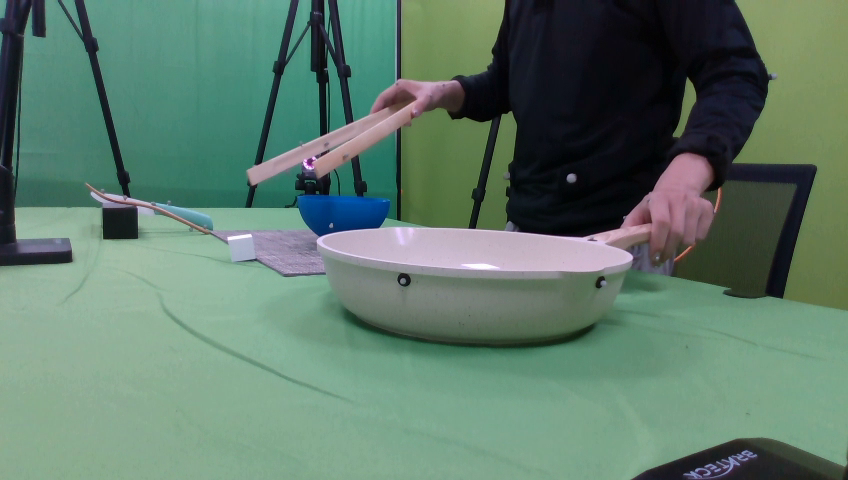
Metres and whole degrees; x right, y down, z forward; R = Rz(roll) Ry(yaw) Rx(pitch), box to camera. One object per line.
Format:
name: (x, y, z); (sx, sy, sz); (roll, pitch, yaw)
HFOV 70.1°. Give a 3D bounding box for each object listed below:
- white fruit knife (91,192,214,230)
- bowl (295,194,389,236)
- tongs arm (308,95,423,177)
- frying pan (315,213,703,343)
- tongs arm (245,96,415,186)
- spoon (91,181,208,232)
white fruit knife: (-0.477, -0.055, 1.077); (0.208, 0.027, 0.016); (15, -5, -30)
bowl: (-0.132, -0.032, 0.980); (0.151, 0.077, 0.151); (2, 7, 0)
tongs arm: (-0.080, -0.181, 0.994); (0.028, 0.028, 0.388); (-12, 20, 31)
frying pan: (0.133, 0.014, 0.629); (0.490, 0.102, 0.305); (-11, 14, -29)
tongs arm: (-0.142, -0.178, 1.038); (0.050, 0.026, 0.386); (-3, 24, 40)
spoon: (-0.461, -0.053, 1.023); (0.195, 0.021, 0.041); (21, 22, -24)
